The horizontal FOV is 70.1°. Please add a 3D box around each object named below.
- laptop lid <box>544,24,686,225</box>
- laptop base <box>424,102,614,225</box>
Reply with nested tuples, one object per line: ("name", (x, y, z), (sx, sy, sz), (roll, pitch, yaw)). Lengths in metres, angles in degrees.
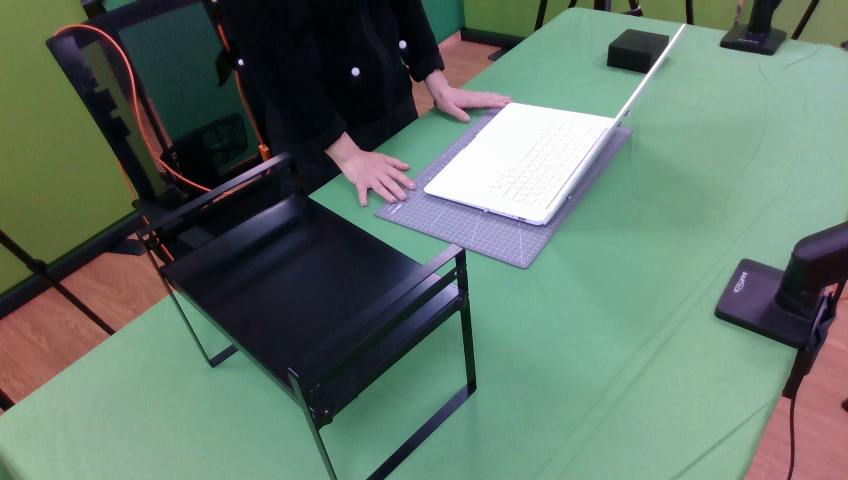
("laptop lid", (0.314, -0.191, 0.987), (0.013, 0.241, 0.357), (35, 51, 9))
("laptop base", (0.188, -0.156, 1.131), (0.234, 0.023, 0.355), (16, 46, 30))
